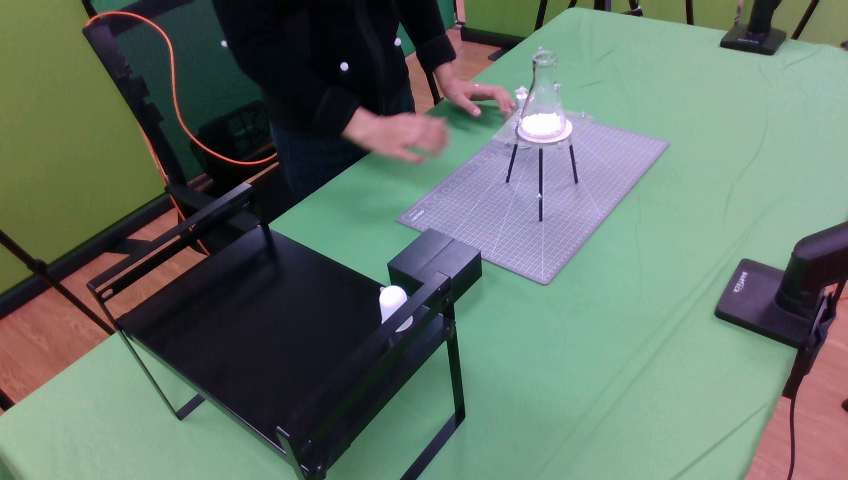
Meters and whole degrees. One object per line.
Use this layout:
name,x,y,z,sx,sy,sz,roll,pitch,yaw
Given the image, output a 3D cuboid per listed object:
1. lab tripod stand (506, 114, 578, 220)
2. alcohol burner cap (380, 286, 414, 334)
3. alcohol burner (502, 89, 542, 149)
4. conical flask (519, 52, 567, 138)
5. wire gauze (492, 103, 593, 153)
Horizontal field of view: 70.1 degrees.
lab tripod stand,0.198,-0.128,1.005,0.148,0.132,0.147,-3,42,3
alcohol burner cap,-0.029,0.068,0.605,0.034,0.048,0.033,-5,39,4
alcohol burner,0.186,-0.235,1.149,0.078,0.119,0.077,-5,42,5
conical flask,0.183,-0.223,0.926,0.075,0.122,0.075,-4,41,4
wire gauze,0.191,-0.179,0.965,0.120,0.011,0.125,17,49,29
